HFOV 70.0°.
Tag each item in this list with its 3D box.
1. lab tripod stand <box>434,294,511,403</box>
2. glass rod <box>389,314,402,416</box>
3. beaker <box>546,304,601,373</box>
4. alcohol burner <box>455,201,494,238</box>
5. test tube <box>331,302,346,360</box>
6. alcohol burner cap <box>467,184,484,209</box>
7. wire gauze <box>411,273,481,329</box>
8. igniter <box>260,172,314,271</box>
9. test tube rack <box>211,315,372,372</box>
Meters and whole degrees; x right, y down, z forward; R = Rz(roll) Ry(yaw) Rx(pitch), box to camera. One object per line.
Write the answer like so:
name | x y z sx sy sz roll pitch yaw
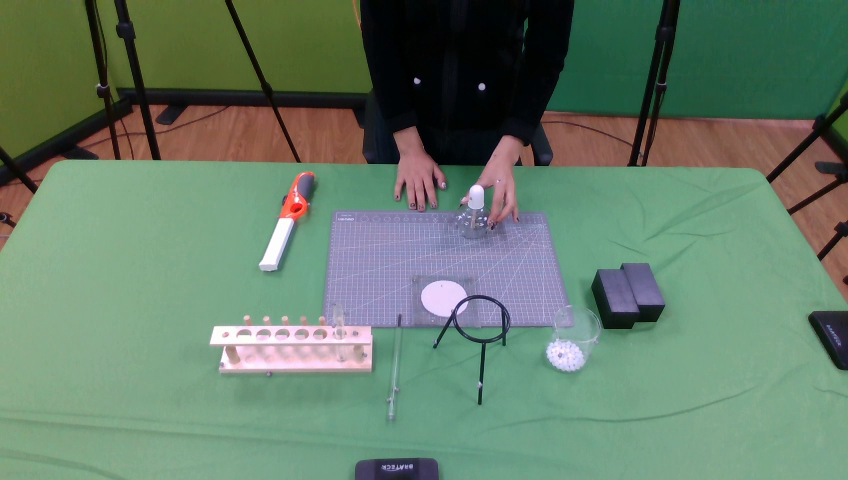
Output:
lab tripod stand | 0.087 0.164 0.969 0.148 0.132 0.147 3 47 -3
glass rod | -0.048 0.203 1.007 0.008 0.008 0.198 4 45 0
beaker | 0.242 0.167 1.001 0.084 0.101 0.073 -32 55 -28
alcohol burner | 0.101 -0.061 1.196 0.078 0.120 0.077 1 48 -1
test tube | -0.132 0.144 0.938 0.017 0.151 0.017 2 49 -3
alcohol burner cap | 0.101 -0.086 1.171 0.034 0.048 0.033 0 43 0
wire gauze | 0.038 0.108 1.103 0.125 0.011 0.120 2 47 -3
igniter | -0.272 -0.046 1.220 0.057 0.025 0.275 0 45 10
test tube rack | -0.208 0.163 0.982 0.242 0.085 0.066 1 46 -4
